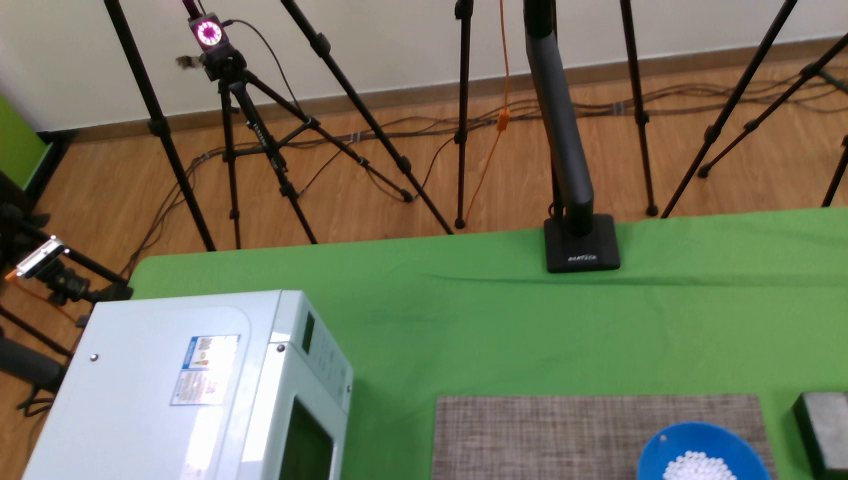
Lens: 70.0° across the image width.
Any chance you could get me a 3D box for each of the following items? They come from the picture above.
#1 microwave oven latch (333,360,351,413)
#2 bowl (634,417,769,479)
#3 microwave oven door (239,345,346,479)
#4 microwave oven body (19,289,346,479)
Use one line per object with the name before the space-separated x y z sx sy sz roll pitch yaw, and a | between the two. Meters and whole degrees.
microwave oven latch | -0.130 0.224 0.929 0.030 0.030 0.078 -4 53 10
bowl | 0.334 0.304 0.743 0.151 0.077 0.150 -7 52 9
microwave oven door | -0.163 0.336 0.719 0.039 0.246 0.352 -5 52 10
microwave oven body | -0.303 0.318 0.773 0.325 0.263 0.437 -5 53 10
